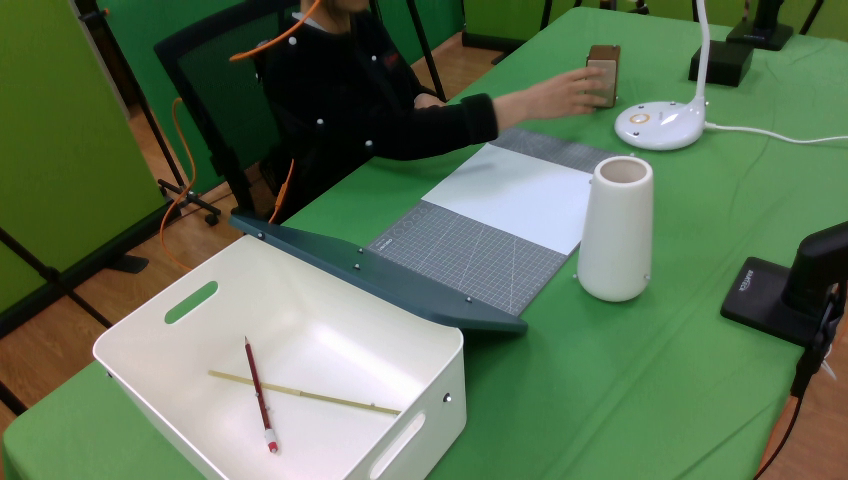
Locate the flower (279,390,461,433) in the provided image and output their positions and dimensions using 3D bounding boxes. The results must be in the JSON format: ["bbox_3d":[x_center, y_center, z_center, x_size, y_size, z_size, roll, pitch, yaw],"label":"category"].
[{"bbox_3d":[-0.122,0.203,0.771,0.360,0.038,0.044,2,77,22],"label":"flower"}]

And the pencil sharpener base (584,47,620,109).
[{"bbox_3d":[0.367,-0.336,1.248,0.061,0.107,0.076,6,42,19],"label":"pencil sharpener base"}]

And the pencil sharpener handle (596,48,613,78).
[{"bbox_3d":[0.383,-0.378,1.276,0.036,0.068,0.030,3,41,22],"label":"pencil sharpener handle"}]

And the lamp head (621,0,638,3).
[{"bbox_3d":[0.319,-0.453,0.962,0.113,0.123,0.112,20,33,-13],"label":"lamp head"}]

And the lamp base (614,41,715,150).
[{"bbox_3d":[0.449,-0.277,1.106,0.179,0.181,0.160,1,41,9],"label":"lamp base"}]

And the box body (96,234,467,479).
[{"bbox_3d":[-0.155,0.169,0.707,0.361,0.161,0.255,23,49,33],"label":"box body"}]

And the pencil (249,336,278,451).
[{"bbox_3d":[-0.213,0.193,0.790,0.012,0.012,0.192,-19,43,-12],"label":"pencil"}]

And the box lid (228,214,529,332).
[{"bbox_3d":[-0.060,0.045,0.812,0.368,0.265,0.015,22,93,32],"label":"box lid"}]

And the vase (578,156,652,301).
[{"bbox_3d":[0.261,-0.011,0.812,0.098,0.201,0.097,-4,40,4],"label":"vase"}]
